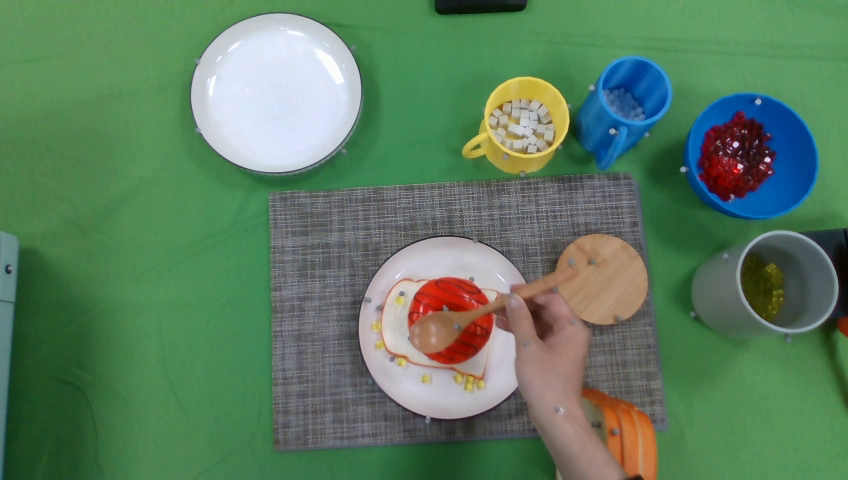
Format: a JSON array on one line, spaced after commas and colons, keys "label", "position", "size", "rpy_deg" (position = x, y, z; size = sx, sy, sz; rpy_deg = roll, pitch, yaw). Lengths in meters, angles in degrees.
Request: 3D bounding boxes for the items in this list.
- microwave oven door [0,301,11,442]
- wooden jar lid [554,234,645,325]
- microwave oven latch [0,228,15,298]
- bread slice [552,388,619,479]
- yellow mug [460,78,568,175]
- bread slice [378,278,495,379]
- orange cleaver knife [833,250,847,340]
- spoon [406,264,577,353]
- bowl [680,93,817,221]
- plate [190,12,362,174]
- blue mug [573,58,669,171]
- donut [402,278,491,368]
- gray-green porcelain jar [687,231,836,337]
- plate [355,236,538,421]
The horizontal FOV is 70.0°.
[{"label": "microwave oven door", "position": [-0.478, 0.222, 0.545], "size": [0.039, 0.244, 0.354], "rpy_deg": [-2, 79, -1]}, {"label": "wooden jar lid", "position": [0.206, 0.047, 0.720], "size": [0.108, 0.021, 0.108], "rpy_deg": [0, 80, -1]}, {"label": "microwave oven latch", "position": [-0.485, 0.026, 0.684], "size": [0.030, 0.029, 0.079], "rpy_deg": [0, 80, -1]}, {"label": "bread slice", "position": [0.165, 0.211, 0.634], "size": [0.018, 0.134, 0.106], "rpy_deg": [5, 77, -9]}, {"label": "yellow mug", "position": [0.103, -0.129, 0.731], "size": [0.131, 0.064, 0.099], "rpy_deg": [-24, 80, -4]}, {"label": "bread slice", "position": [0.012, 0.098, 0.699], "size": [0.131, 0.019, 0.104], "rpy_deg": [10, 79, -2]}, {"label": "orange cleaver knife", "position": [0.493, 0.095, 0.688], "size": [0.012, 0.076, 0.212], "rpy_deg": [-6, 109, -1]}, {"label": "spoon", "position": [0.063, 0.067, 0.599], "size": [0.193, 0.022, 0.041], "rpy_deg": [-27, 79, 29]}, {"label": "bowl", "position": [0.370, -0.089, 0.723], "size": [0.151, 0.077, 0.150], "rpy_deg": [0, 80, -1]}, {"label": "plate", "position": [-0.179, -0.178, 0.748], "size": [0.208, 0.039, 0.206], "rpy_deg": [0, 79, -1]}, {"label": "blue mug", "position": [0.225, -0.138, 0.715], "size": [0.082, 0.106, 0.116], "rpy_deg": [17, 79, 3]}, {"label": "donut", "position": [0.025, 0.091, 0.670], "size": [0.099, 0.048, 0.098], "rpy_deg": [1, 78, -2]}, {"label": "gray-green porcelain jar", "position": [0.363, 0.054, 0.671], "size": [0.106, 0.127, 0.105], "rpy_deg": [0, 79, -1]}, {"label": "plate", "position": [0.026, 0.099, 0.696], "size": [0.209, 0.038, 0.208], "rpy_deg": [0, 79, -1]}]
